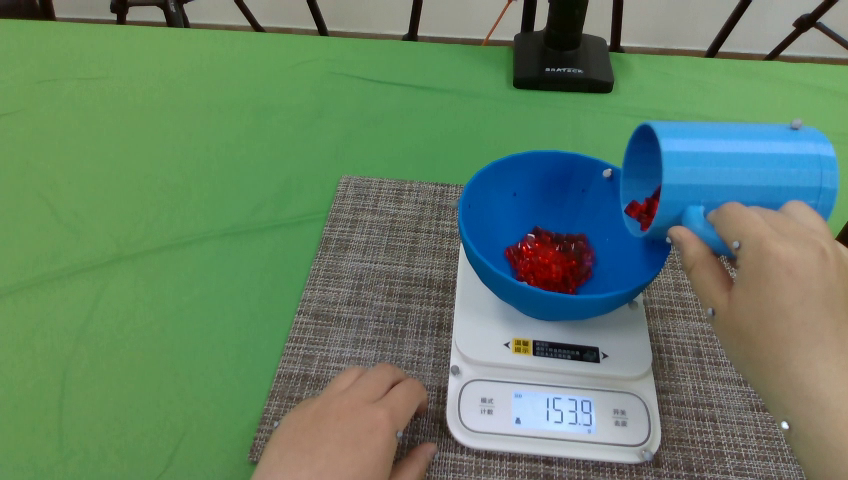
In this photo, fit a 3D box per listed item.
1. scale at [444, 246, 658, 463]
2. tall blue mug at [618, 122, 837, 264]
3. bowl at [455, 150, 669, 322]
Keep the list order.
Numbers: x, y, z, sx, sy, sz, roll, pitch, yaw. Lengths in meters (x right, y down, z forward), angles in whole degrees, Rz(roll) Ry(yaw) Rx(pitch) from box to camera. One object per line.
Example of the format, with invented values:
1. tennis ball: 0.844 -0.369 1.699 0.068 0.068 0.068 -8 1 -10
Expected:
1. scale: 0.096 0.068 0.472 0.148 0.032 0.199 4 47 4
2. tall blue mug: 0.194 -0.033 0.383 0.108 0.078 0.106 1 12 -2
3. bowl: 0.096 0.009 0.455 0.151 0.077 0.150 1 47 -1
